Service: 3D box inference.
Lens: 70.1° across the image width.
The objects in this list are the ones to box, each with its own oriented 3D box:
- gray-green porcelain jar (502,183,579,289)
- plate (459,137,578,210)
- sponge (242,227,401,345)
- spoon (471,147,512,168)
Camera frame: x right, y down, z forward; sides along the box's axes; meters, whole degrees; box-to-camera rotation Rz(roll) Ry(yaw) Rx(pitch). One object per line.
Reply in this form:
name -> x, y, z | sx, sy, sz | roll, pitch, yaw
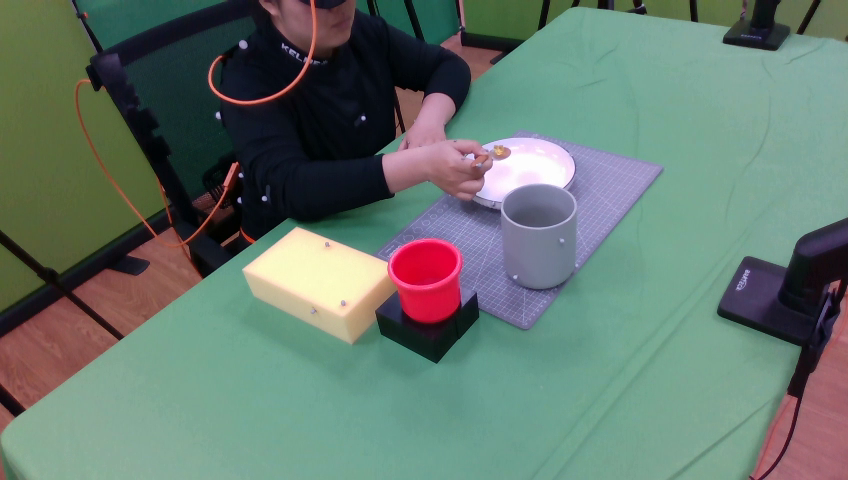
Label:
gray-green porcelain jar -> 0.167, -0.001, 0.866 | 0.106, 0.127, 0.105 | -5, 40, 5
plate -> 0.166, -0.113, 1.068 | 0.207, 0.039, 0.206 | -5, 40, 5
sponge -> -0.154, 0.063, 0.907 | 0.205, 0.061, 0.118 | 19, 48, 29
spoon -> 0.104, -0.133, 0.964 | 0.041, 0.021, 0.194 | 5, 13, 20
